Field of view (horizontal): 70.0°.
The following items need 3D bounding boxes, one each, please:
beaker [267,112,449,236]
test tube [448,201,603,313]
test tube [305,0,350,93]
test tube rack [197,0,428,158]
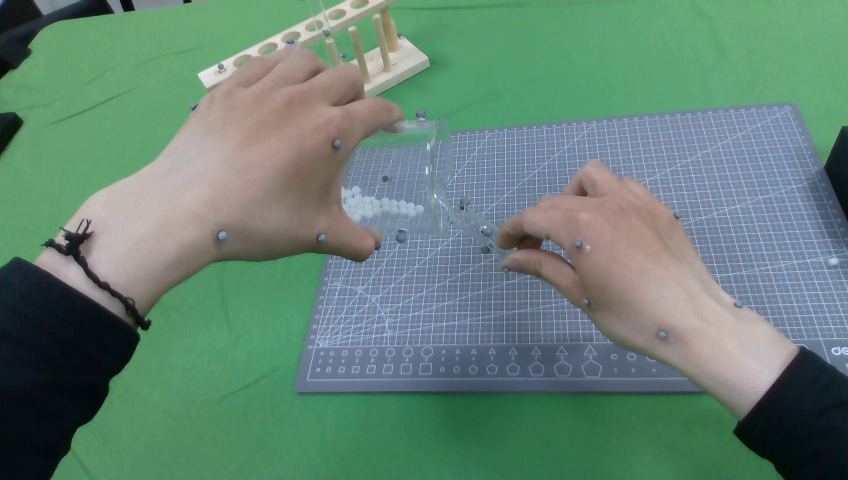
[{"bbox_3d":[-0.037,-0.040,0.378,0.100,0.084,0.074,1,85,10],"label":"beaker"},{"bbox_3d":[0.076,0.016,0.425,0.017,0.151,0.017,-39,33,32],"label":"test tube"},{"bbox_3d":[-0.106,-0.221,0.648,0.017,0.152,0.017,-7,50,8],"label":"test tube"},{"bbox_3d":[-0.120,-0.197,0.690,0.242,0.086,0.066,-31,53,-12],"label":"test tube rack"}]
